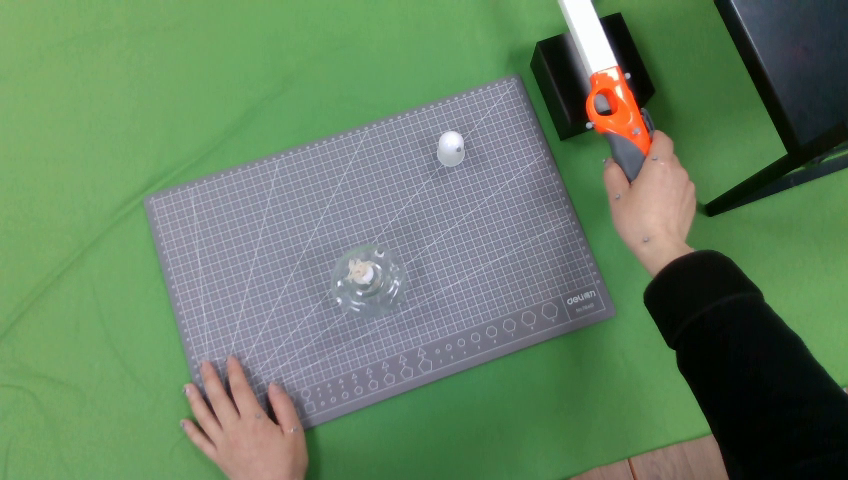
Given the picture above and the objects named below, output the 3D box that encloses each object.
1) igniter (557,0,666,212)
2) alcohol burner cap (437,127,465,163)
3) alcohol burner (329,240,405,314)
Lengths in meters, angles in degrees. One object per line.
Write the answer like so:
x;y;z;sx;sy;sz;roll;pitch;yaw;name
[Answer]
0.181;-0.161;0.609;0.057;0.025;0.275;-18;82;-6;igniter
0.029;-0.108;0.669;0.034;0.048;0.033;0;80;1;alcohol burner cap
-0.059;0.035;0.606;0.078;0.119;0.077;0;80;1;alcohol burner
